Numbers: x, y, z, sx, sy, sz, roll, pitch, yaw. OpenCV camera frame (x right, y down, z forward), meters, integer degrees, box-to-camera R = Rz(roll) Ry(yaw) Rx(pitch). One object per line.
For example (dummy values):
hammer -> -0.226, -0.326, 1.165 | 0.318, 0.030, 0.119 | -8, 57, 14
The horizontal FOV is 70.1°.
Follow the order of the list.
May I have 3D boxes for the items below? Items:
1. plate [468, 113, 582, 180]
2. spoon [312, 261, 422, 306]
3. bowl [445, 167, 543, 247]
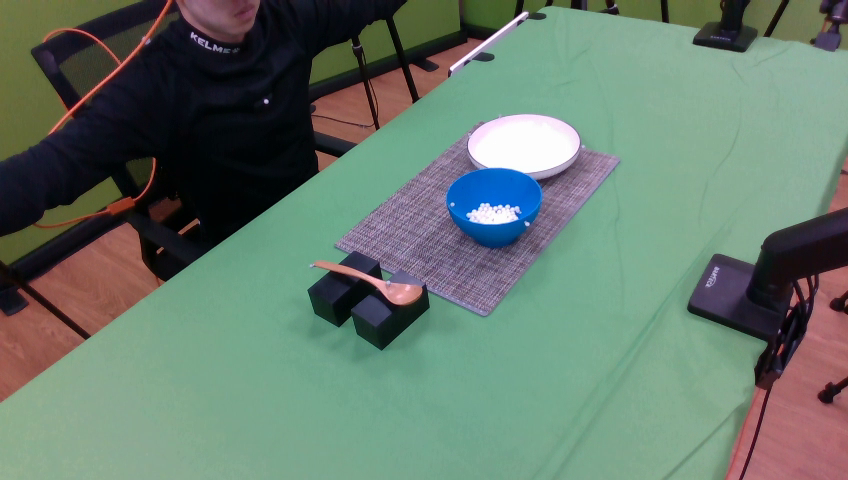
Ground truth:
plate -> 0.186, -0.169, 1.122 | 0.207, 0.039, 0.206 | -4, 40, 4
spoon -> -0.084, 0.055, 0.842 | 0.192, 0.022, 0.042 | 19, 46, 29
bowl -> 0.111, -0.041, 0.952 | 0.151, 0.077, 0.150 | -4, 41, 4
